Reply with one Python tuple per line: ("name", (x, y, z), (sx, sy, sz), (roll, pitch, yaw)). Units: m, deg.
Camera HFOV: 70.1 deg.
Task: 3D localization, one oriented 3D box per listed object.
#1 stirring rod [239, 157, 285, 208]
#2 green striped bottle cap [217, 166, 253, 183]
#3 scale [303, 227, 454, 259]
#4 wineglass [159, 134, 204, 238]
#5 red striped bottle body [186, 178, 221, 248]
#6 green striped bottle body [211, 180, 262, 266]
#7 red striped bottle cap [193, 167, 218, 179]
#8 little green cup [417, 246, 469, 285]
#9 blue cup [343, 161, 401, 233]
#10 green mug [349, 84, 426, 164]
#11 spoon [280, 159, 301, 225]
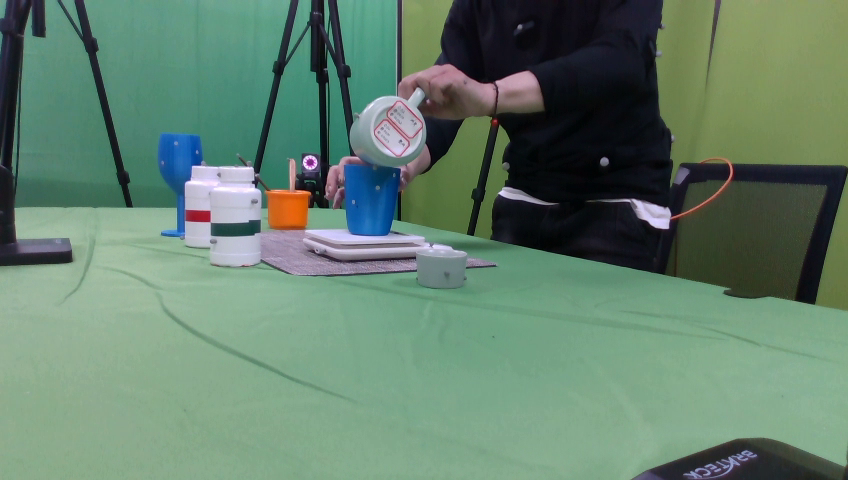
("stirring rod", (-0.309, -0.098, 1.209), (0.006, 0.177, 0.014), (-38, 29, -2))
("green striped bottle cap", (-0.242, -0.085, 0.776), (0.044, 0.020, 0.044), (2, 8, 0))
("scale", (-0.066, 0.001, 0.906), (0.202, 0.031, 0.148), (-2, 8, -31))
("wineglass", (-0.415, -0.093, 1.039), (0.074, 0.172, 0.073), (2, 7, 0))
("red striped bottle body", (-0.331, -0.050, 0.927), (0.063, 0.119, 0.063), (2, 7, 0))
("green striped bottle body", (-0.243, -0.029, 0.784), (0.063, 0.119, 0.063), (2, 7, 0))
("red striped bottle cap", (-0.329, -0.103, 0.921), (0.044, 0.017, 0.044), (-1, 9, 0))
("little green cup", (0.021, 0.029, 0.701), (0.061, 0.038, 0.061), (1, 6, 0))
("blue cup", (-0.078, -0.062, 0.884), (0.093, 0.100, 0.092), (3, 5, 0))
("green mug", (-0.043, -0.161, 0.826), (0.093, 0.125, 0.104), (40, -10, -17))
("spoon", (-0.273, -0.102, 1.252), (0.042, 0.193, 0.021), (7, -38, -17))
